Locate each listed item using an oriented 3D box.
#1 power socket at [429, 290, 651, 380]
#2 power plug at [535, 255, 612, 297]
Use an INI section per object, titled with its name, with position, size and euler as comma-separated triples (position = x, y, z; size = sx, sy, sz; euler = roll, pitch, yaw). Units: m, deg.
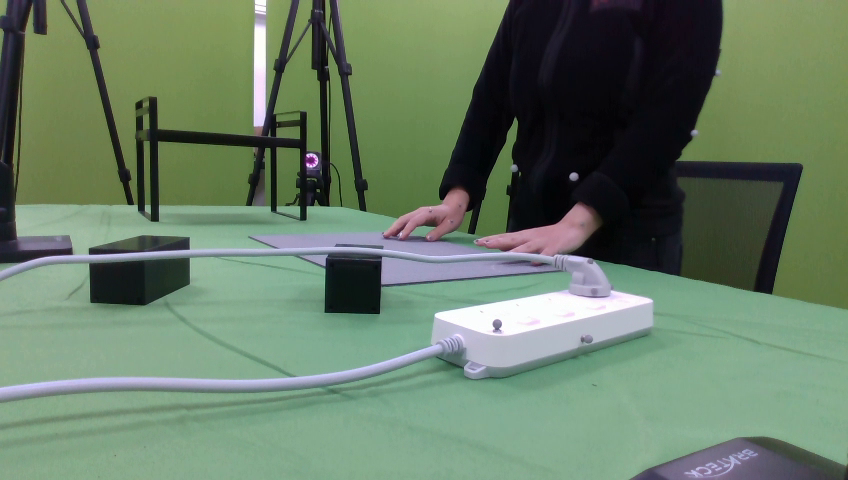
[power socket]
position = 0.100, 0.067, 0.480
size = 0.228, 0.032, 0.072
euler = -4, 9, -41
[power plug]
position = 0.137, 0.041, 0.549
size = 0.035, 0.052, 0.072
euler = -2, 5, -32
